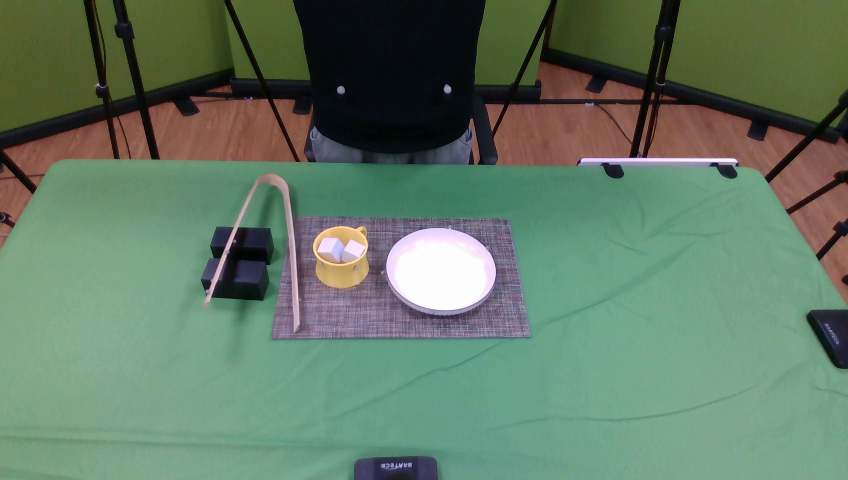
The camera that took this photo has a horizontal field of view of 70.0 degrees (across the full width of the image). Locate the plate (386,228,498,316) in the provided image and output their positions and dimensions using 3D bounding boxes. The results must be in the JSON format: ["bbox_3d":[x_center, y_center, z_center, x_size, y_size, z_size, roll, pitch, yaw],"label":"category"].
[{"bbox_3d":[0.032,0.062,1.126,0.208,0.039,0.206,2,46,-2],"label":"plate"}]

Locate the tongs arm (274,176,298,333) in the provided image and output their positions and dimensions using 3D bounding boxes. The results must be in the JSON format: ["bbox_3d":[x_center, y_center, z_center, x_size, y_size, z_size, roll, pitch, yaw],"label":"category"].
[{"bbox_3d":[-0.260,0.014,1.154,0.028,0.028,0.385,9,43,-26],"label":"tongs arm"}]

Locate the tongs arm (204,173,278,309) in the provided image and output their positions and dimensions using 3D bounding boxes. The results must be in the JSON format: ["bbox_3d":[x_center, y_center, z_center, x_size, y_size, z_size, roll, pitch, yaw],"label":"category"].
[{"bbox_3d":[-0.331,-0.012,1.122,0.051,0.026,0.382,21,37,-18],"label":"tongs arm"}]

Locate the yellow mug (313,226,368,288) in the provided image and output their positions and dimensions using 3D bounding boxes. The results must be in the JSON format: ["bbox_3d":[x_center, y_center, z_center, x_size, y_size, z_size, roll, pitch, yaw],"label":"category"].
[{"bbox_3d":[-0.146,0.021,1.132,0.099,0.064,0.130,24,49,19],"label":"yellow mug"}]
